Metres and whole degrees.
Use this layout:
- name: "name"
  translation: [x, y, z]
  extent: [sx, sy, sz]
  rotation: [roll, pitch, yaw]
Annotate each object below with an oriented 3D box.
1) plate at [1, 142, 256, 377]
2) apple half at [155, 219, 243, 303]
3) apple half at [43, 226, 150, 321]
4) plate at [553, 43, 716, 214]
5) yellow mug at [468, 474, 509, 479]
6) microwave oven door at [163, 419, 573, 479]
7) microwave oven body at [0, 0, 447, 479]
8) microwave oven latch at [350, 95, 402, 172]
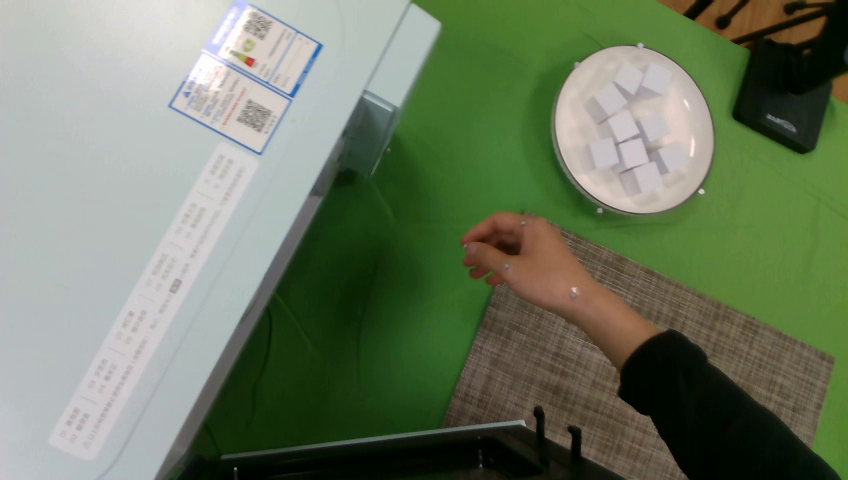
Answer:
- name: "plate"
  translation: [-0.259, 0.017, 0.548]
  extent: [0.210, 0.038, 0.208]
  rotation: [2, 83, -12]
- name: "apple half"
  translation: [-0.210, 0.019, 0.552]
  extent: [0.081, 0.033, 0.081]
  rotation: [1, 81, -7]
- name: "apple half"
  translation: [-0.285, 0.032, 0.520]
  extent: [0.081, 0.053, 0.074]
  rotation: [40, 88, -20]
- name: "plate"
  translation: [0.251, -0.132, 0.734]
  extent: [0.208, 0.039, 0.207]
  rotation: [1, 84, -11]
- name: "yellow mug"
  translation: [0.066, 0.318, 0.634]
  extent: [0.100, 0.064, 0.130]
  rotation: [36, 81, -6]
- name: "microwave oven door"
  translation: [-0.041, 0.208, 0.516]
  extent: [0.357, 0.244, 0.039]
  rotation: [-3, 83, -12]
- name: "microwave oven body"
  translation: [-0.242, -0.040, 0.504]
  extent: [0.327, 0.260, 0.440]
  rotation: [28, 80, -8]
- name: "microwave oven latch"
  translation: [-0.051, -0.114, 0.650]
  extent: [0.030, 0.029, 0.079]
  rotation: [27, 80, -8]
